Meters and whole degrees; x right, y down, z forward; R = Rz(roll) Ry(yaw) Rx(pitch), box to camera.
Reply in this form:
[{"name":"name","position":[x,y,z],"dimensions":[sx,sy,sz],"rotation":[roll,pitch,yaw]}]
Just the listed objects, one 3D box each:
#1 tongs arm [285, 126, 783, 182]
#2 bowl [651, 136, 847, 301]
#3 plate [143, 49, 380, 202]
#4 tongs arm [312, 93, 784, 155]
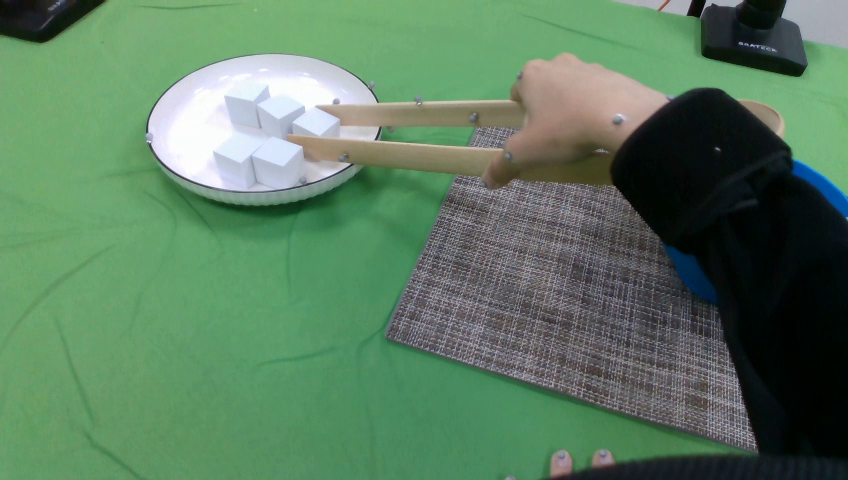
[{"name":"tongs arm","position":[0.041,-0.067,0.446],"dimensions":[0.385,0.028,0.028],"rotation":[7,47,33]},{"name":"bowl","position":[0.246,-0.005,0.477],"dimensions":[0.151,0.077,0.150],"rotation":[2,49,-2]},{"name":"plate","position":[-0.146,-0.106,0.566],"dimensions":[0.209,0.038,0.207],"rotation":[3,49,-3]},{"name":"tongs arm","position":[0.054,-0.089,0.461],"dimensions":[0.382,0.027,0.050],"rotation":[5,49,31]}]
